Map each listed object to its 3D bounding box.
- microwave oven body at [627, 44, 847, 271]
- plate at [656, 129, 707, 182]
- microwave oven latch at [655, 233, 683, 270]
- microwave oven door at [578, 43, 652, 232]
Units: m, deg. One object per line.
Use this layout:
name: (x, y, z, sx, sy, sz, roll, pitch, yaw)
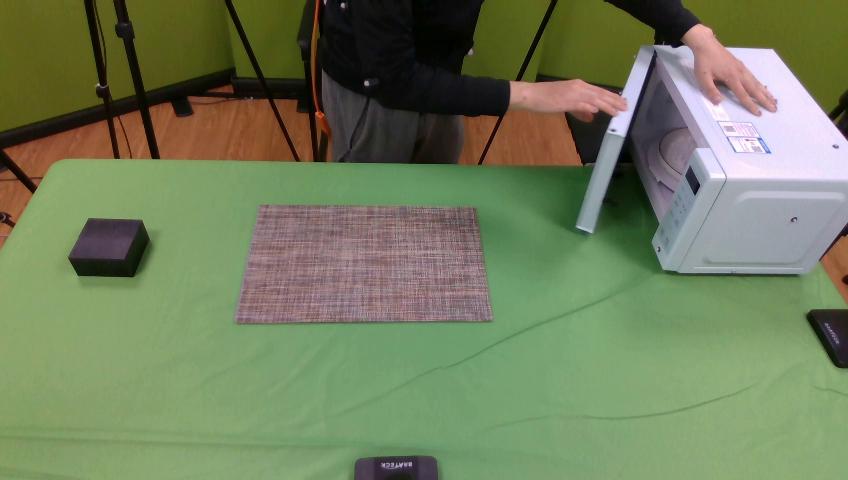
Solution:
microwave oven body: (0.620, -0.172, 1.234, 0.326, 0.261, 0.439, 0, 46, -3)
plate: (0.603, -0.165, 1.305, 0.209, 0.038, 0.208, 2, 45, -2)
microwave oven latch: (0.473, 0.021, 1.175, 0.030, 0.029, 0.078, 2, 46, -1)
microwave oven door: (0.402, -0.220, 1.257, 0.039, 0.245, 0.354, 19, 49, 14)
